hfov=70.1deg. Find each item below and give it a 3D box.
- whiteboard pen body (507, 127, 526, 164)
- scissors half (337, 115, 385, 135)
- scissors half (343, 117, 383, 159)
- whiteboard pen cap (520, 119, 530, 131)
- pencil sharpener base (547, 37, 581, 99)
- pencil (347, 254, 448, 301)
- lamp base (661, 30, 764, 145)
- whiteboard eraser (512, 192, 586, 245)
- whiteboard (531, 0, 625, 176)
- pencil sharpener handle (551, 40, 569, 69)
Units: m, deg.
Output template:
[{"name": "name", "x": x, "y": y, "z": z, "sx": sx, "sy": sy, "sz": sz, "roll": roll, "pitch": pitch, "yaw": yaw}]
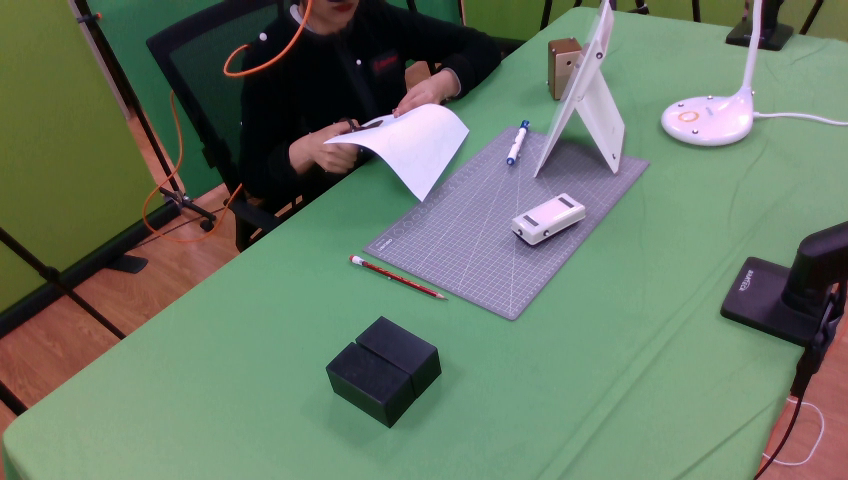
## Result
[{"name": "whiteboard pen body", "x": 0.181, "y": -0.189, "z": 1.162, "sx": 0.017, "sy": 0.017, "sz": 0.140, "roll": 7, "pitch": 42, "yaw": 19}, {"name": "scissors half", "x": -0.121, "y": -0.216, "z": 1.144, "sx": 0.013, "sy": 0.040, "sz": 0.173, "roll": -24, "pitch": 24, "yaw": -31}, {"name": "scissors half", "x": -0.115, "y": -0.195, "z": 1.147, "sx": 0.013, "sy": 0.174, "sz": 0.040, "roll": -19, "pitch": 84, "yaw": -32}, {"name": "whiteboard pen cap", "x": 0.200, "y": -0.226, "z": 1.204, "sx": 0.018, "sy": 0.018, "sz": 0.033, "roll": 7, "pitch": 41, "yaw": 18}, {"name": "pencil sharpener base", "x": 0.299, "y": -0.368, "z": 1.290, "sx": 0.061, "sy": 0.107, "sz": 0.076, "roll": -8, "pitch": 40, "yaw": 2}, {"name": "pencil", "x": -0.044, "y": 0.058, "z": 0.933, "sx": 0.192, "sy": 0.012, "sz": 0.012, "roll": 22, "pitch": 49, "yaw": 28}, {"name": "lamp base", "x": 0.535, "y": -0.287, "z": 1.096, "sx": 0.179, "sy": 0.181, "sz": 0.159, "roll": -10, "pitch": 40, "yaw": -4}, {"name": "whiteboard eraser", "x": 0.199, "y": -0.032, "z": 0.962, "sx": 0.113, "sy": 0.042, "sz": 0.055, "roll": -27, "pitch": 43, "yaw": -20}, {"name": "whiteboard", "x": 0.320, "y": -0.258, "z": 1.050, "sx": 0.144, "sy": 0.306, "sz": 0.217, "roll": 22, "pitch": 45, "yaw": 5}, {"name": "pencil sharpener handle", "x": 0.291, "y": -0.409, "z": 1.321, "sx": 0.036, "sy": 0.068, "sz": 0.030, "roll": 2, "pitch": 40, "yaw": -6}]
